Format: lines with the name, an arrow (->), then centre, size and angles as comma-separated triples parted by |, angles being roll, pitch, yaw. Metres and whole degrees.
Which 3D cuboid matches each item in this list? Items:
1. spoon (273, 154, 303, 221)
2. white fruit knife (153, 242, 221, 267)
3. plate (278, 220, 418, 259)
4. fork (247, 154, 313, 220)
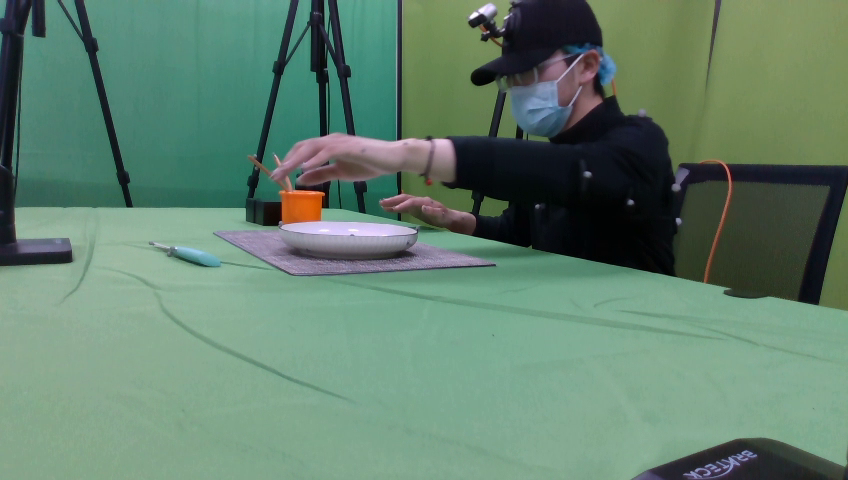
spoon -> -0.280, -0.107, 1.247 | 0.021, 0.193, 0.042 | -28, -29, 9
white fruit knife -> -0.335, 0.016, 0.832 | 0.206, 0.016, 0.027 | 8, -19, 47
plate -> -0.114, -0.002, 0.914 | 0.209, 0.038, 0.209 | 2, 7, 0
fork -> -0.275, -0.096, 1.188 | 0.028, 0.018, 0.208 | 28, -20, 48
